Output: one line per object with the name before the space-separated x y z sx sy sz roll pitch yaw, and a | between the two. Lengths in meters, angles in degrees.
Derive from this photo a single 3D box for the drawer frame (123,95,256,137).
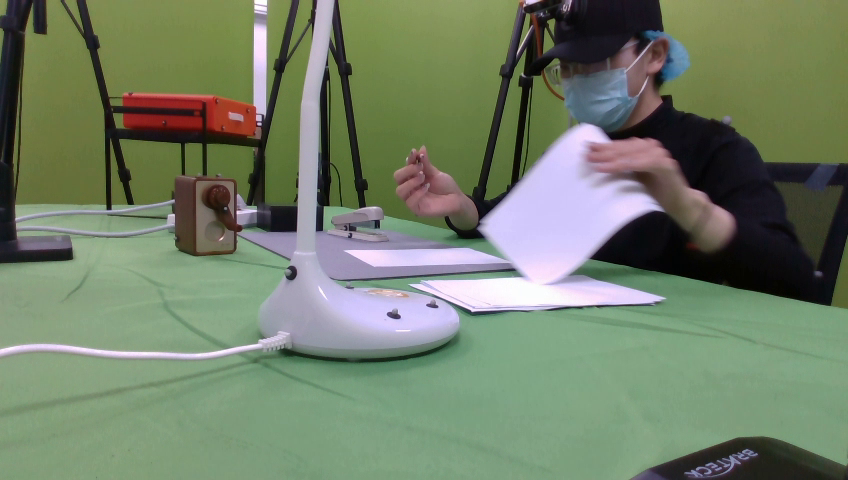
drawer frame | -0.524 -0.280 1.376 0.213 0.082 0.202 3 8 8

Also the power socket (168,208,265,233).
power socket | -0.381 -0.038 1.129 0.072 0.032 0.227 4 8 17

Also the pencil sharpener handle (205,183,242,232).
pencil sharpener handle | -0.265 -0.043 0.813 0.036 0.068 0.030 -32 28 -35

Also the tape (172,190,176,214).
tape | -0.515 -0.087 1.388 0.117 0.052 0.117 3 7 0

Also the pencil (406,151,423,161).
pencil | -0.016 -0.140 1.005 0.012 0.012 0.193 1 5 -8

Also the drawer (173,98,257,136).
drawer | -0.518 -0.279 1.376 0.211 0.073 0.195 3 8 9

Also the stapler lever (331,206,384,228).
stapler lever | -0.118 -0.043 1.070 0.117 0.040 0.027 7 7 41

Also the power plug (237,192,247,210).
power plug | -0.386 -0.071 1.204 0.072 0.052 0.035 7 8 26

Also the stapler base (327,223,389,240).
stapler base | -0.117 -0.018 1.073 0.130 0.024 0.041 7 7 41

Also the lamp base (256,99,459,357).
lamp base | -0.055 -0.013 0.463 0.160 0.180 0.180 6 11 27

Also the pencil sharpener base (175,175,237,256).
pencil sharpener base | -0.304 -0.035 0.847 0.062 0.107 0.076 -4 10 -42
